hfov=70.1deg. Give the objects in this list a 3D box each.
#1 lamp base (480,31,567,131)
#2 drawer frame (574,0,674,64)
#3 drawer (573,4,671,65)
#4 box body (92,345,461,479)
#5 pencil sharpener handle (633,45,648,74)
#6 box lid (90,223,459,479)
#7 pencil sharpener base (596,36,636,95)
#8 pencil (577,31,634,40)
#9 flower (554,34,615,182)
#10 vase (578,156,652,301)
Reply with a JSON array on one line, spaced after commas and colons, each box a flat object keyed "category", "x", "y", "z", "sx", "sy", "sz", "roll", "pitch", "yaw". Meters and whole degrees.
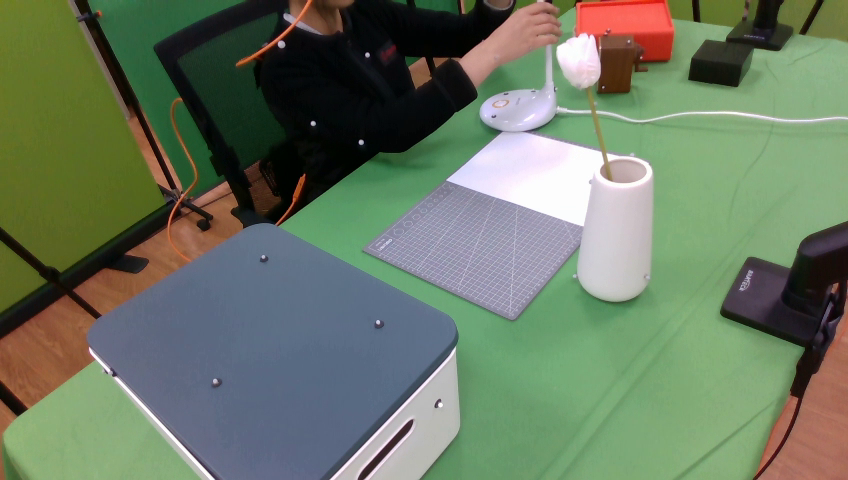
[{"category": "lamp base", "x": 0.200, "y": -0.332, "z": 1.219, "sx": 0.179, "sy": 0.181, "sz": 0.160, "roll": 2, "pitch": 40, "yaw": 9}, {"category": "drawer frame", "x": 0.464, "y": -0.492, "z": 1.434, "sx": 0.213, "sy": 0.083, "sz": 0.201, "roll": 1, "pitch": 40, "yaw": 12}, {"category": "drawer", "x": 0.461, "y": -0.490, "z": 1.435, "sx": 0.211, "sy": 0.073, "sz": 0.194, "roll": 2, "pitch": 41, "yaw": 12}, {"category": "box body", "x": -0.162, "y": 0.170, "z": 0.708, "sx": 0.361, "sy": 0.161, "sz": 0.255, "roll": 25, "pitch": 50, "yaw": 34}, {"category": "pencil sharpener handle", "x": 0.454, "y": -0.378, "z": 1.262, "sx": 0.030, "sy": 0.068, "sz": 0.036, "roll": 1, "pitch": 47, "yaw": 13}, {"category": "box lid", "x": -0.174, "y": 0.102, "z": 0.666, "sx": 0.368, "sy": 0.015, "sz": 0.264, "roll": 24, "pitch": 48, "yaw": 35}, {"category": "pencil sharpener base", "x": 0.406, "y": -0.369, "z": 1.280, "sx": 0.076, "sy": 0.107, "sz": 0.061, "roll": 1, "pitch": 41, "yaw": 13}, {"category": "pencil", "x": 0.430, "y": -0.487, "z": 1.443, "sx": 0.012, "sy": 0.012, "sz": 0.192, "roll": -25, "pitch": 30, "yaw": -18}, {"category": "flower", "x": 0.237, "y": -0.083, "z": 0.774, "sx": 0.044, "sy": 0.363, "sz": 0.038, "roll": -22, "pitch": 26, "yaw": 7}, {"category": "vase", "x": 0.261, "y": -0.011, "z": 0.812, "sx": 0.098, "sy": 0.201, "sz": 0.097, "roll": -4, "pitch": 40, "yaw": 4}]
